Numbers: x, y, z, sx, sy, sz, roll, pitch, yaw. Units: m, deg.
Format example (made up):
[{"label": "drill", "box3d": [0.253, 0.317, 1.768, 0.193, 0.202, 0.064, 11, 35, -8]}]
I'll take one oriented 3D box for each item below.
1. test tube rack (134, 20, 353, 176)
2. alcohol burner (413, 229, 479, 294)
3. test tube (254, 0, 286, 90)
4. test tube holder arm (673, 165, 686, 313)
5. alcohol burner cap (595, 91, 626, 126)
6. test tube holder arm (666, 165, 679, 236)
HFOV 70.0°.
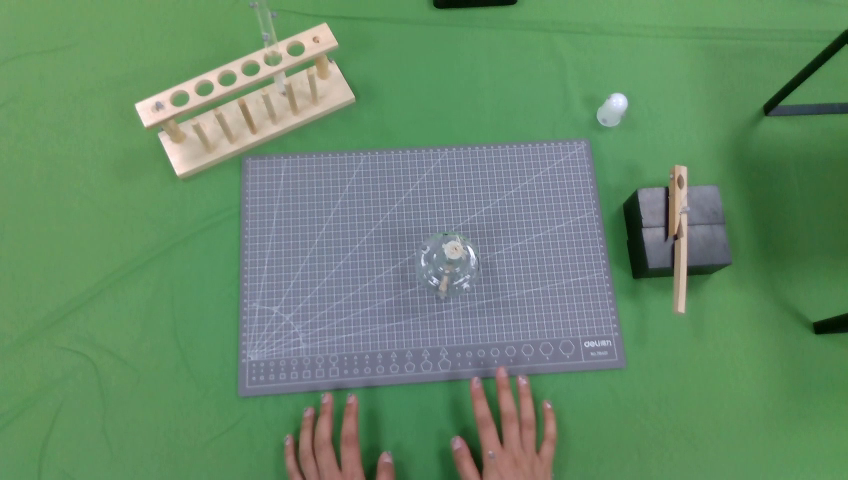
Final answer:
[{"label": "test tube rack", "box3d": [-0.213, -0.173, 0.747, 0.242, 0.085, 0.066, -27, 76, -10]}, {"label": "alcohol burner", "box3d": [0.027, 0.020, 0.685, 0.078, 0.119, 0.077, 1, 74, -3]}, {"label": "test tube", "box3d": [-0.178, -0.225, 0.712, 0.017, 0.151, 0.017, 1, 68, -3]}, {"label": "test tube holder arm", "box3d": [0.297, -0.003, 0.708, 0.013, 0.015, 0.177, 4, 75, 0]}, {"label": "alcohol burner cap", "box3d": [0.245, -0.174, 0.792, 0.034, 0.048, 0.033, 0, 73, -1]}, {"label": "test tube holder arm", "box3d": [0.295, -0.047, 0.719, 0.010, 0.015, 0.087, 6, 75, 0]}]
